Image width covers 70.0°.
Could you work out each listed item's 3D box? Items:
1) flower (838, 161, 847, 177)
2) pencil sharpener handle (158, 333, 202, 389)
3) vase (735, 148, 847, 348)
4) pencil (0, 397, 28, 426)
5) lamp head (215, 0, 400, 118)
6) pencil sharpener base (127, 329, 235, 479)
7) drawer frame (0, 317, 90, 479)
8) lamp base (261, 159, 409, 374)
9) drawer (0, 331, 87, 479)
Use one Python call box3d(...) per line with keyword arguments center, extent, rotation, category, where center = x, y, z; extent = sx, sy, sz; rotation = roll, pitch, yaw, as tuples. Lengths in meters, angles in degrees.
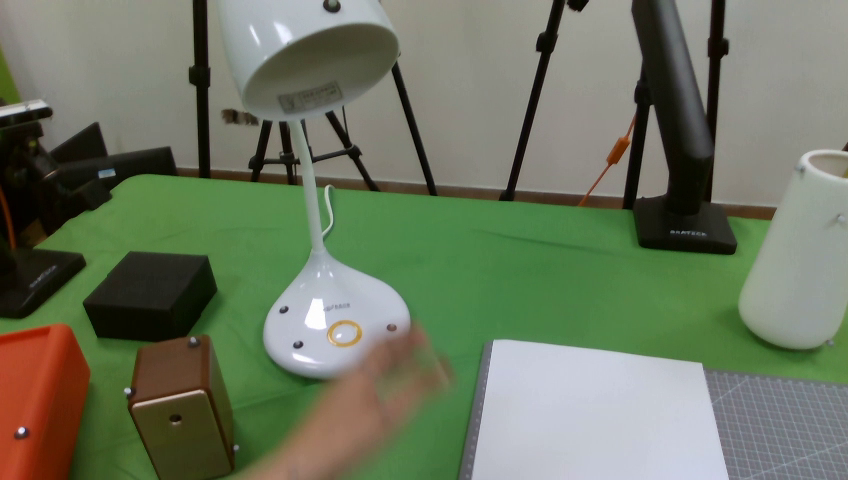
box3d(center=(0.372, -0.046, 0.548), extent=(0.038, 0.365, 0.043), rotation=(-30, 56, -17), category="flower")
box3d(center=(-0.220, 0.104, 0.552), extent=(0.036, 0.068, 0.030), rotation=(-6, 33, -16), category="pencil sharpener handle")
box3d(center=(0.384, 0.011, 0.610), extent=(0.098, 0.201, 0.097), rotation=(-2, 32, 1), category="vase")
box3d(center=(-0.394, 0.197, 0.470), extent=(0.012, 0.012, 0.193), rotation=(19, 51, 28), category="pencil")
box3d(center=(-0.090, -0.158, 0.409), extent=(0.112, 0.112, 0.122), rotation=(-21, 76, -26), category="lamp head")
box3d(center=(-0.204, 0.140, 0.519), extent=(0.061, 0.108, 0.076), rotation=(-11, 34, -13), category="pencil sharpener base")
box3d(center=(-0.406, 0.176, 0.494), extent=(0.202, 0.083, 0.211), rotation=(-11, 34, -13), category="drawer frame")
box3d(center=(-0.105, 0.018, 0.634), extent=(0.161, 0.182, 0.177), rotation=(-17, 34, -22), category="lamp base")
box3d(center=(-0.403, 0.178, 0.493), extent=(0.195, 0.074, 0.209), rotation=(-11, 34, -13), category="drawer")
